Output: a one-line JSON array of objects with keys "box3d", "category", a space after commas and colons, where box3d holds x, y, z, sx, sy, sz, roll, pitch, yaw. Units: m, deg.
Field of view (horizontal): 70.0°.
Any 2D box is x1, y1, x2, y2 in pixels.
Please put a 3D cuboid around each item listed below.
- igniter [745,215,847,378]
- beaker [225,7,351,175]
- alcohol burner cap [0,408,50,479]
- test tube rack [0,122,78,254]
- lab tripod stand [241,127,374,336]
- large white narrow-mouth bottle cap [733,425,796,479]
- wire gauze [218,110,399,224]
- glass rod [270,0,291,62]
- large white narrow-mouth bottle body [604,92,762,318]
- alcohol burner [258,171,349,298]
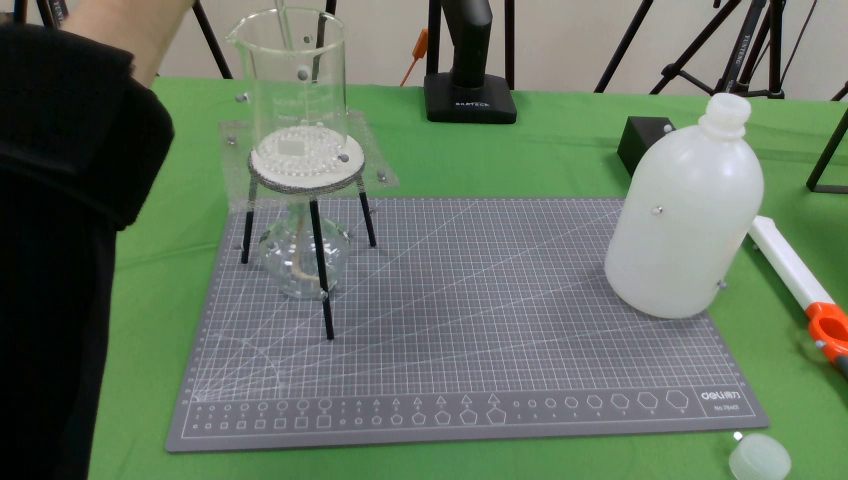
[{"box3d": [0.362, 0.069, 0.547, 0.057, 0.025, 0.273, 9, 39, -12], "category": "igniter"}, {"box3d": [-0.094, -0.105, 0.439, 0.084, 0.101, 0.073, -5, 43, -11], "category": "beaker"}, {"box3d": [-0.271, 0.131, 0.397, 0.034, 0.048, 0.033, 4, 40, -3], "category": "alcohol burner cap"}, {"box3d": [-0.445, -0.014, 0.515, 0.066, 0.086, 0.242, 35, 49, 30], "category": "test tube rack"}, {"box3d": [-0.093, -0.014, 0.511, 0.148, 0.132, 0.147, 4, 41, -3], "category": "lab tripod stand"}, {"box3d": [0.246, 0.156, 0.438, 0.038, 0.024, 0.037, 3, 40, -2], "category": "large white narrow-mouth bottle cap"}, {"box3d": [-0.093, -0.065, 0.470, 0.122, 0.011, 0.123, -11, 47, -15], "category": "wire gauze"}, {"box3d": [-0.096, -0.190, 0.349, 0.008, 0.201, 0.008, 0, 51, 0], "category": "glass rod"}, {"box3d": [0.224, -0.031, 0.516, 0.102, 0.196, 0.101, 2, 40, -2], "category": "large white narrow-mouth bottle body"}, {"box3d": [-0.103, -0.008, 0.518, 0.078, 0.120, 0.077, 4, 39, -3], "category": "alcohol burner"}]
